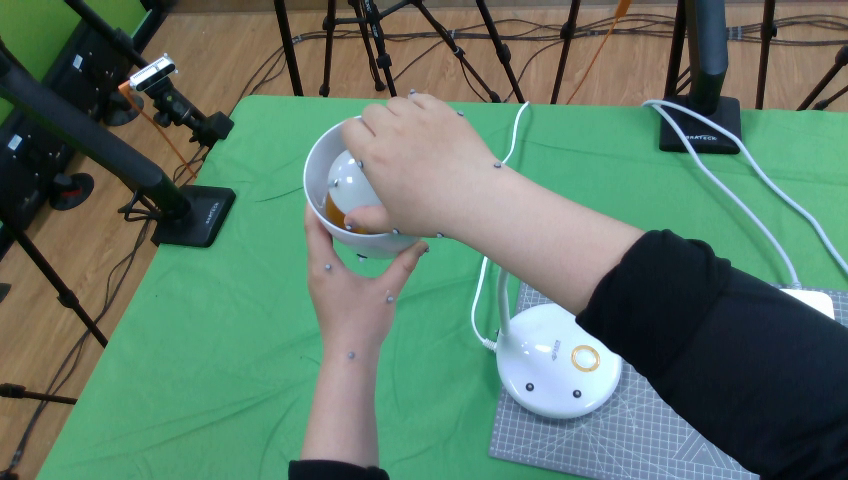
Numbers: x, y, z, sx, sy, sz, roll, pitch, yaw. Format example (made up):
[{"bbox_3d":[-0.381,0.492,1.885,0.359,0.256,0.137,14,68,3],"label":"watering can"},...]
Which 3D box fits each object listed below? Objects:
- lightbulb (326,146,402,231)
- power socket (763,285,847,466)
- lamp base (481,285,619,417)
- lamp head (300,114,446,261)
[{"bbox_3d":[-0.046,-0.035,0.499,0.059,0.108,0.059,-1,69,4],"label":"lightbulb"},{"bbox_3d":[0.457,0.154,0.731,0.072,0.033,0.225,5,57,15],"label":"power socket"},{"bbox_3d":[0.145,0.112,0.738,0.178,0.182,0.159,0,56,16],"label":"lamp base"},{"bbox_3d":[-0.037,-0.031,0.528,0.112,0.124,0.111,-3,66,7],"label":"lamp head"}]
